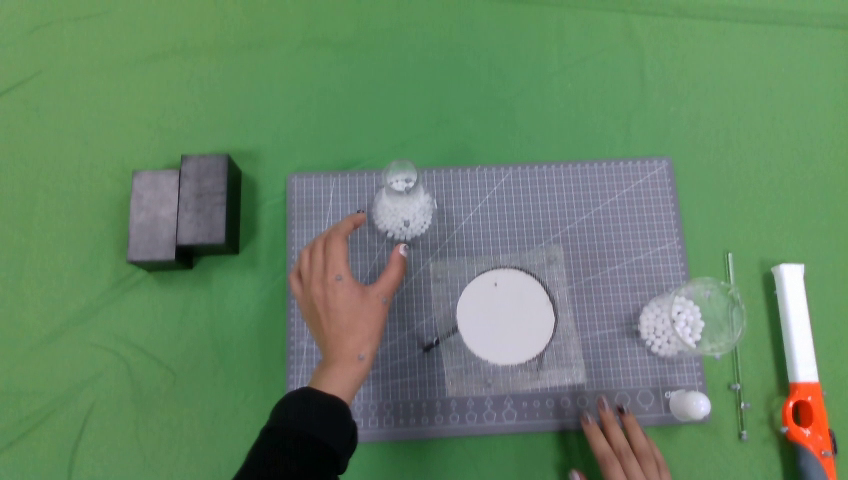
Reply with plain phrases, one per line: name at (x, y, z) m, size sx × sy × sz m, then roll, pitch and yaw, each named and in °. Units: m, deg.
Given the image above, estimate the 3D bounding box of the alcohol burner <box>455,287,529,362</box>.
alcohol burner at (0.070, 0.083, 0.610) m, size 0.078 × 0.119 × 0.077 m, roll 0°, pitch 74°, yaw 1°

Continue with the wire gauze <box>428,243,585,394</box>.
wire gauze at (0.072, 0.068, 0.534) m, size 0.125 × 0.011 × 0.121 m, roll -6°, pitch 77°, yaw -2°

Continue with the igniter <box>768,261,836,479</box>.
igniter at (0.402, 0.158, 0.646) m, size 0.057 × 0.025 × 0.275 m, roll 2°, pitch 77°, yaw -11°

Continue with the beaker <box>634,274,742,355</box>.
beaker at (0.267, 0.079, 0.622) m, size 0.084 × 0.100 × 0.073 m, roll -39°, pitch 80°, yaw -10°

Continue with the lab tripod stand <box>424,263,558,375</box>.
lab tripod stand at (0.070, 0.082, 0.600) m, size 0.148 × 0.132 × 0.147 m, roll 0°, pitch 78°, yaw 0°

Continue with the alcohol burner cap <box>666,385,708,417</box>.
alcohol burner cap at (0.277, 0.167, 0.630) m, size 0.034 × 0.048 × 0.033 m, roll 0°, pitch 75°, yaw -1°

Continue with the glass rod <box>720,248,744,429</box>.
glass rod at (0.340, 0.105, 0.667) m, size 0.008 × 0.008 × 0.198 m, roll 1°, pitch 76°, yaw -1°

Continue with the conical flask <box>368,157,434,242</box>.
conical flask at (-0.025, -0.047, 0.634) m, size 0.075 × 0.122 × 0.075 m, roll 0°, pitch 76°, yaw -1°
